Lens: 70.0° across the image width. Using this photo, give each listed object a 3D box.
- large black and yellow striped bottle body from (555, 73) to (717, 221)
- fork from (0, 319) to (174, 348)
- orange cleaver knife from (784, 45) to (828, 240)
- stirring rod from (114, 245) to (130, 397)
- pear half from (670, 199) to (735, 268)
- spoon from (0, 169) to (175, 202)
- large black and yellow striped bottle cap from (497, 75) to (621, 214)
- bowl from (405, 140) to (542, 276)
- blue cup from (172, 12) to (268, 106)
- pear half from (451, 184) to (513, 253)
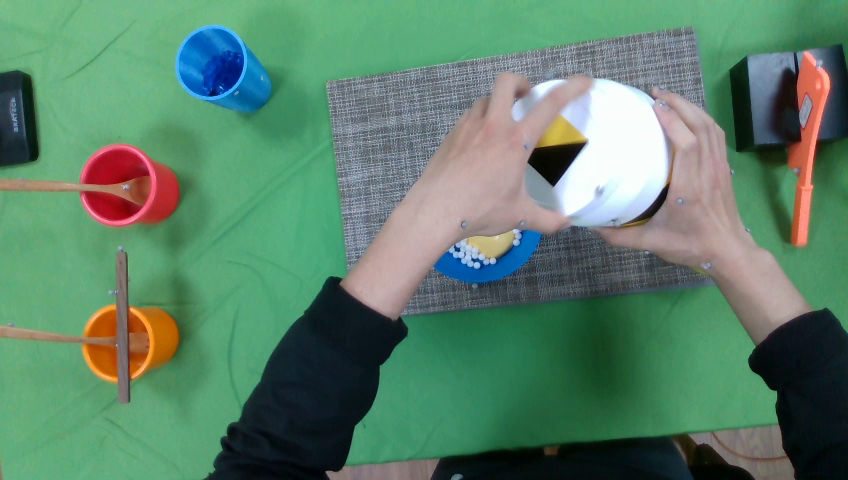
[{"bbox_3d":[0.177,-0.083,0.572,0.130,0.185,0.131,3,94,48],"label":"large black and yellow striped bottle body"},{"bbox_3d":[-0.400,0.107,0.706,0.209,0.018,0.028,13,99,-38],"label":"fork"},{"bbox_3d":[0.415,-0.104,0.671,0.012,0.076,0.213,-5,117,11],"label":"orange cleaver knife"},{"bbox_3d":[-0.350,0.093,0.701,0.014,0.006,0.176,-2,89,3],"label":"stirring rod"},{"bbox_3d":[0.305,-0.004,0.662,0.056,0.110,0.076,-26,82,5],"label":"pear half"},{"bbox_3d":[-0.398,-0.069,0.714,0.195,0.021,0.041,1,90,-38],"label":"spoon"},{"bbox_3d":[0.110,-0.079,0.513,0.114,0.019,0.115,7,101,44],"label":"large black and yellow striped bottle cap"},{"bbox_3d":[0.058,-0.034,0.700,0.151,0.077,0.151,0,89,6],"label":"bowl"},{"bbox_3d":[-0.233,-0.202,0.722,0.092,0.100,0.092,0,89,7],"label":"blue cup"},{"bbox_3d":[0.063,-0.028,0.693,0.070,0.031,0.087,-33,82,2],"label":"pear half"}]
